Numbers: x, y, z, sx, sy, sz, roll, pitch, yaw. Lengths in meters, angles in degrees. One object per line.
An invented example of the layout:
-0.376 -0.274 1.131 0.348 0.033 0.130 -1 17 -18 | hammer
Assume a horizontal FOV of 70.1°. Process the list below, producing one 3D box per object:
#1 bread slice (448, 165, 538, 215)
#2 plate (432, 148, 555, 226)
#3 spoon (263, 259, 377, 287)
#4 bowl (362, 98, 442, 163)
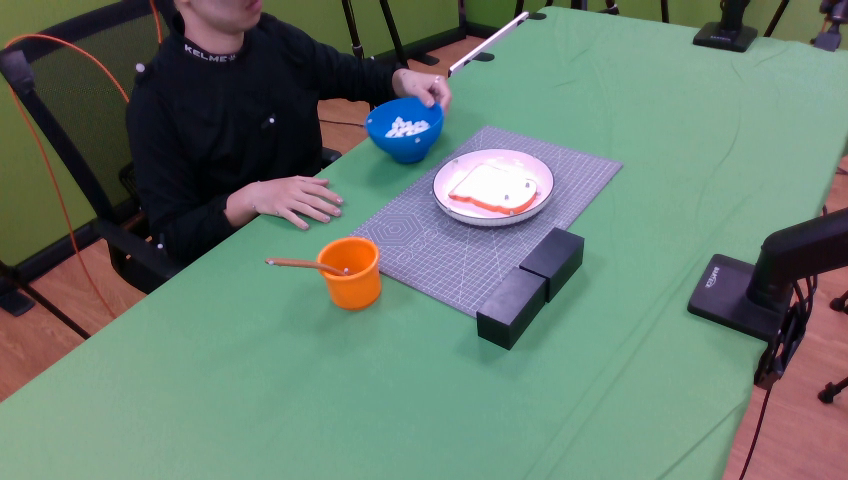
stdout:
0.126 -0.085 1.038 0.133 0.018 0.107 16 45 27 | bread slice
0.119 -0.087 1.037 0.209 0.038 0.208 -4 40 4 | plate
-0.140 0.042 0.843 0.041 0.195 0.021 35 101 41 | spoon
-0.035 -0.199 1.149 0.151 0.077 0.150 -6 40 6 | bowl
